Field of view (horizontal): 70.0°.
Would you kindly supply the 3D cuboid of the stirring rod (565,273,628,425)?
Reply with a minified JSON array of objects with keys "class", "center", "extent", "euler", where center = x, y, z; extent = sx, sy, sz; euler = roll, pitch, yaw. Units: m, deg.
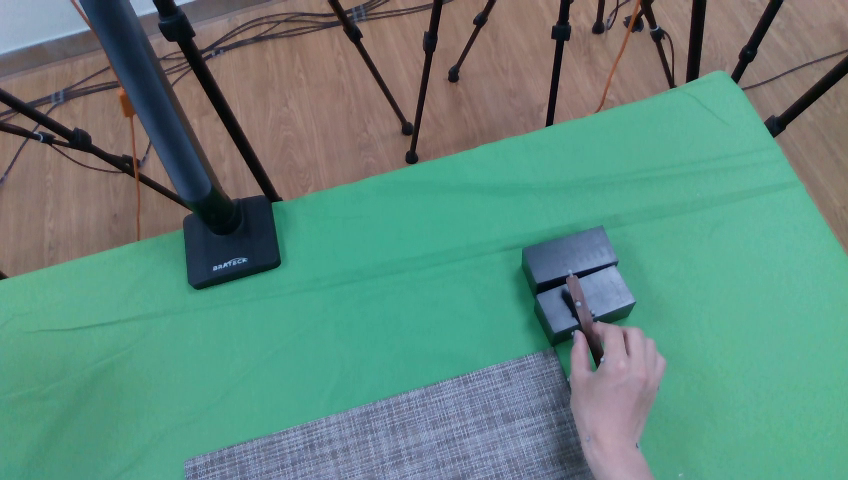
[{"class":"stirring rod","center":[0.191,0.120,0.672],"extent":[0.014,0.006,0.176],"euler":[-19,88,7]}]
